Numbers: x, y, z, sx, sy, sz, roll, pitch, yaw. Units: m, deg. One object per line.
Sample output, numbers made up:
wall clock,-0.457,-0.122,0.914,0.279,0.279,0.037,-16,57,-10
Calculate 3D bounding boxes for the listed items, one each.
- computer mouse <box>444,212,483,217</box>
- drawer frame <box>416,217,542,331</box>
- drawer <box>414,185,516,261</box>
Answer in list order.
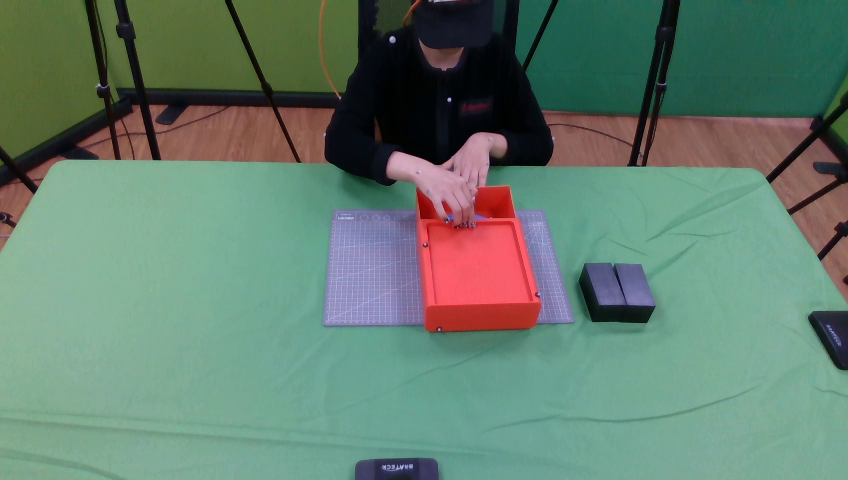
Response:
computer mouse,0.092,-0.024,1.203,0.117,0.041,0.062,4,41,-8
drawer frame,0.092,0.056,1.105,0.202,0.083,0.212,-1,47,-6
drawer,0.084,-0.014,1.175,0.195,0.073,0.210,0,46,-5
